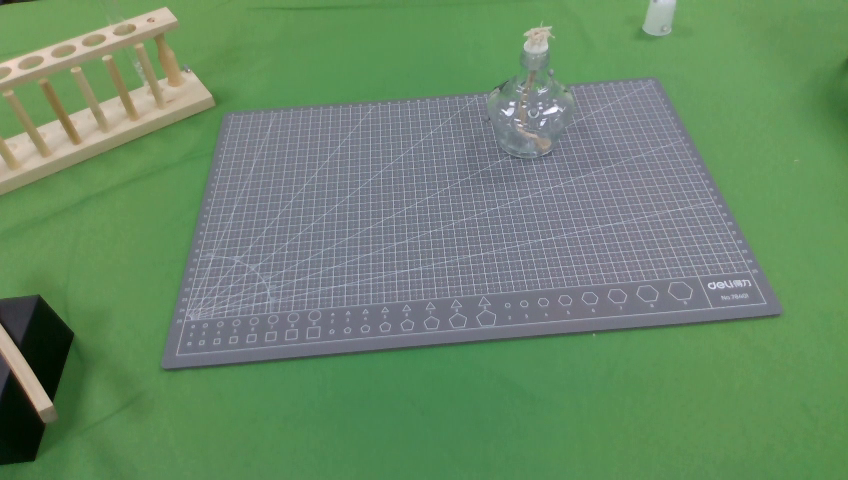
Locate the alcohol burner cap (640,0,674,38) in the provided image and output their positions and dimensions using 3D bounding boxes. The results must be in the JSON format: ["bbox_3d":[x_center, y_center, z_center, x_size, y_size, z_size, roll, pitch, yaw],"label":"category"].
[{"bbox_3d":[0.265,-0.256,0.682,0.034,0.048,0.033,-3,50,4],"label":"alcohol burner cap"}]

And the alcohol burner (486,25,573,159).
[{"bbox_3d":[0.094,-0.132,0.534,0.078,0.120,0.077,-2,47,2],"label":"alcohol burner"}]

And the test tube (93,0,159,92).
[{"bbox_3d":[-0.295,-0.208,0.583,0.017,0.152,0.017,-5,48,6],"label":"test tube"}]

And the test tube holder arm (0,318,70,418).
[{"bbox_3d":[-0.282,0.058,0.398,0.177,0.015,0.013,32,50,26],"label":"test tube holder arm"}]

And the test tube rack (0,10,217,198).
[{"bbox_3d":[-0.339,-0.131,0.585,0.242,0.086,0.066,-30,53,-20],"label":"test tube rack"}]
